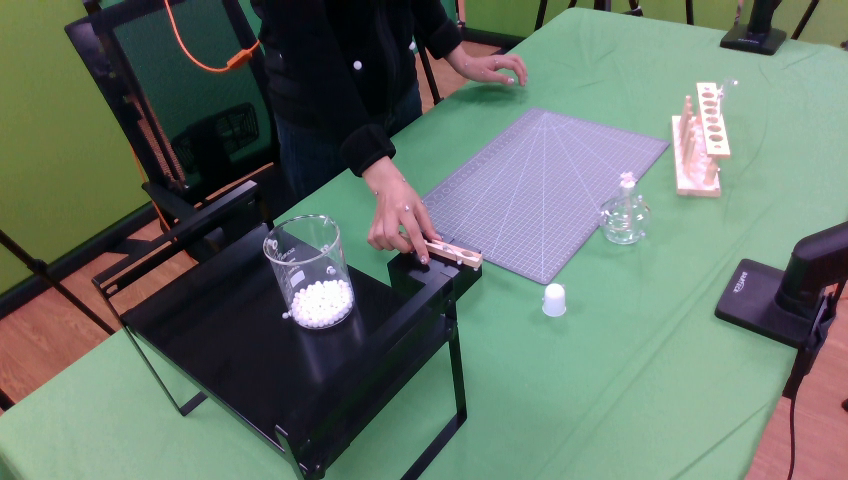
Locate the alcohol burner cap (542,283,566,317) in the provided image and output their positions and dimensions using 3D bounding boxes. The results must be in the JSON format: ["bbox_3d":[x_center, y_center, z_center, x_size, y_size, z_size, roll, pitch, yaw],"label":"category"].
[{"bbox_3d":[0.181,0.081,0.839,0.034,0.048,0.033,-4,40,4],"label":"alcohol burner cap"}]

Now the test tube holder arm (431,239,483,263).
[{"bbox_3d":[0.045,0.016,0.877,0.087,0.015,0.010,17,40,29],"label":"test tube holder arm"}]

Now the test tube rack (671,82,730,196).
[{"bbox_3d":[0.482,-0.184,1.067,0.066,0.085,0.242,5,42,15],"label":"test tube rack"}]

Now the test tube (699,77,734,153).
[{"bbox_3d":[0.489,-0.207,1.016,0.017,0.151,0.017,-2,48,3],"label":"test tube"}]

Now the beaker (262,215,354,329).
[{"bbox_3d":[-0.112,0.034,0.616,0.073,0.101,0.084,13,44,23],"label":"beaker"}]

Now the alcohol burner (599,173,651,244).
[{"bbox_3d":[0.307,-0.052,0.920,0.078,0.119,0.077,-6,42,6],"label":"alcohol burner"}]

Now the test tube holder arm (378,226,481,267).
[{"bbox_3d":[0.004,0.008,0.894,0.177,0.015,0.013,16,39,28],"label":"test tube holder arm"}]
